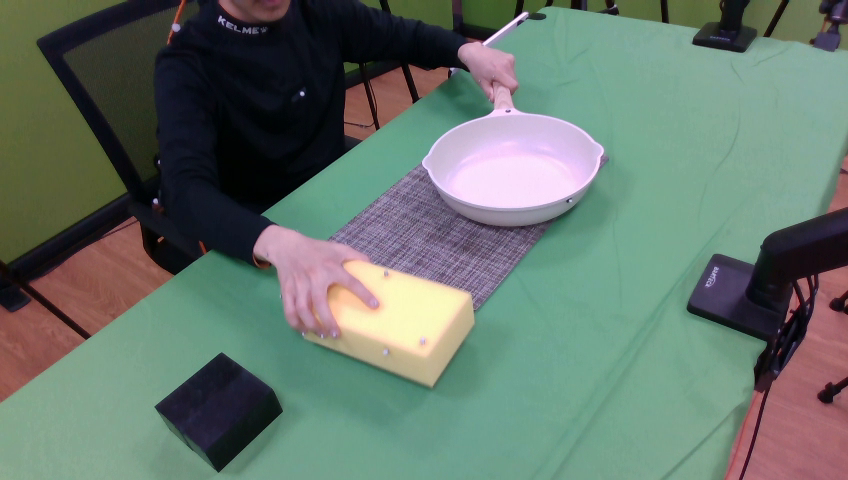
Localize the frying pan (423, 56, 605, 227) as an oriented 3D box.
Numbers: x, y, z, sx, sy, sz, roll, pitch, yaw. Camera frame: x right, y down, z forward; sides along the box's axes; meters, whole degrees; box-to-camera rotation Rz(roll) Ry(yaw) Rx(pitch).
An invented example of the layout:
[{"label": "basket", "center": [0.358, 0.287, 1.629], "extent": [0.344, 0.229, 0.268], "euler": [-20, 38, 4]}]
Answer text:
[{"label": "frying pan", "center": [0.155, -0.200, 1.111], "extent": [0.307, 0.103, 0.485], "euler": [-2, 49, 4]}]

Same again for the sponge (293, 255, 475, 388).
[{"label": "sponge", "center": [-0.052, 0.101, 0.803], "extent": [0.205, 0.061, 0.118], "euler": [15, 46, 26]}]
